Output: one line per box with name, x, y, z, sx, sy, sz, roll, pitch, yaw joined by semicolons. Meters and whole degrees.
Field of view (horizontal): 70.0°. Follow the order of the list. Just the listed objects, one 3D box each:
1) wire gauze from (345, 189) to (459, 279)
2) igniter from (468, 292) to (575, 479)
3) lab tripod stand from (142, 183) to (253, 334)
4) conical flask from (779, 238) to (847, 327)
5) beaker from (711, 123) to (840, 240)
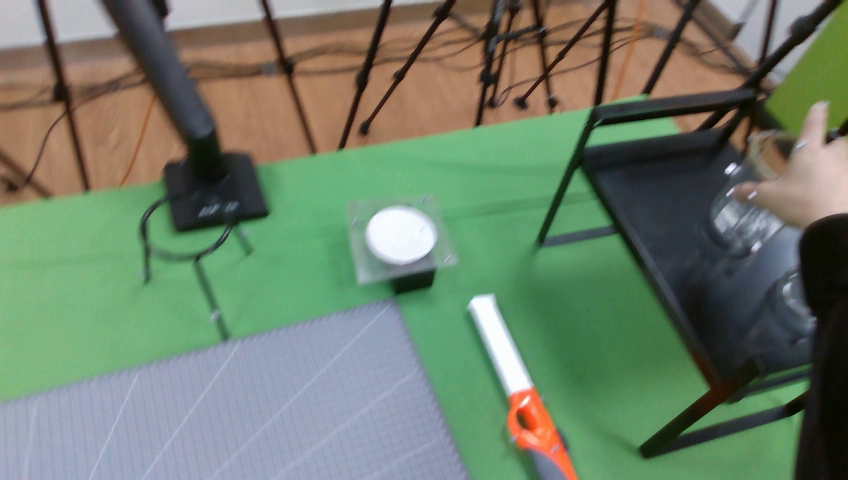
wire gauze;-0.030;-0.013;0.746;0.122;0.011;0.124;-7;56;-13
igniter;0.110;0.178;0.680;0.057;0.025;0.273;-5;55;-24
lab tripod stand;-0.248;0.015;0.676;0.149;0.132;0.147;5;55;-7
conical flask;0.392;0.022;0.552;0.075;0.123;0.074;4;54;-6
beaker;0.334;-0.054;0.593;0.074;0.101;0.083;-31;65;-23
